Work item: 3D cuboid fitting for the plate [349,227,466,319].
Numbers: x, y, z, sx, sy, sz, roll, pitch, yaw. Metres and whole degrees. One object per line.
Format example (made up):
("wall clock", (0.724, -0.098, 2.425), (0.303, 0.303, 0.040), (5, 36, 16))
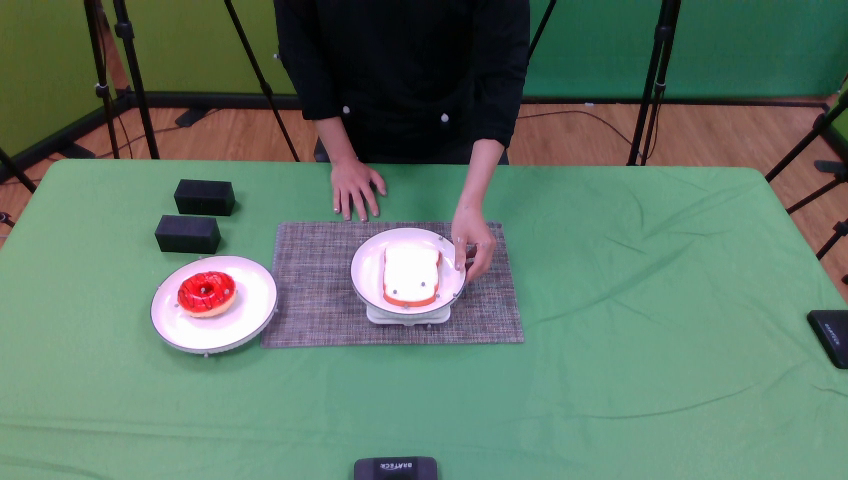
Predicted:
("plate", (-0.029, 0.061, 1.077), (0.209, 0.038, 0.208), (2, 46, -2))

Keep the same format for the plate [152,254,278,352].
("plate", (-0.357, 0.111, 1.052), (0.208, 0.039, 0.206), (2, 46, -2))

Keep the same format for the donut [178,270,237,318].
("donut", (-0.375, 0.092, 1.053), (0.099, 0.048, 0.098), (1, 42, 0))

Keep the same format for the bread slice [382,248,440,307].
("bread slice", (-0.023, 0.064, 1.078), (0.105, 0.019, 0.130), (2, 45, 0))

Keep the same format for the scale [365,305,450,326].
("scale", (-0.032, 0.071, 1.113), (0.149, 0.032, 0.199), (0, 46, -4))
